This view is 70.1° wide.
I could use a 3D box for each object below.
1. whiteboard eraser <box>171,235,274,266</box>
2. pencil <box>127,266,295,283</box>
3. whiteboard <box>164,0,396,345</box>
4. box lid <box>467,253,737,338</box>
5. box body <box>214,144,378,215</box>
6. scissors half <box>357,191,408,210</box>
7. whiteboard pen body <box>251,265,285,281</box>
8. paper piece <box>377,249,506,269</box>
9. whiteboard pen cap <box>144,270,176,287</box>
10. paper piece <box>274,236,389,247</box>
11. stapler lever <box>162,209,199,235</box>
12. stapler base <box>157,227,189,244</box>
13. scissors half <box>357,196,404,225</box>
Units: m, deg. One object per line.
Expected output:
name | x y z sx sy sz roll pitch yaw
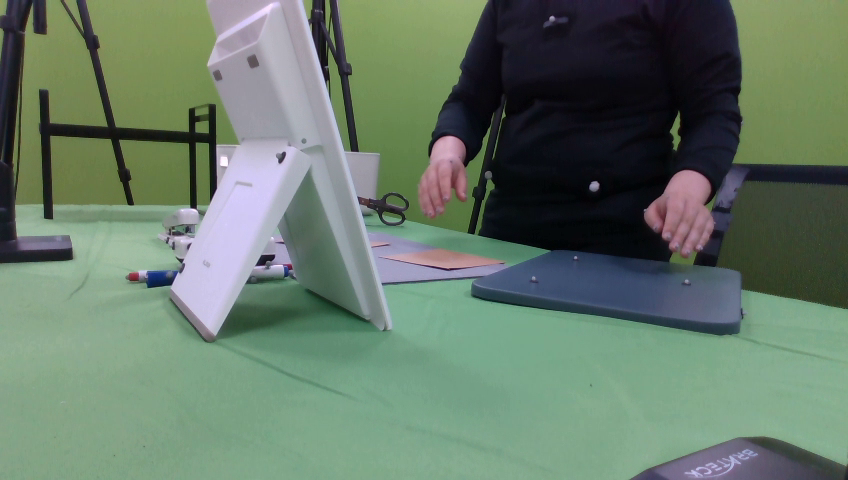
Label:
whiteboard eraser | -0.248 0.014 0.747 0.113 0.042 0.055 -1 10 -32
pencil | -0.231 0.037 0.690 0.195 0.012 0.012 -2 9 -34
whiteboard | -0.172 -0.053 0.511 0.144 0.305 0.216 -23 20 -26
box lid | 0.234 0.055 0.736 0.262 0.015 0.373 7 8 27
box body | -0.328 -0.154 1.543 0.366 0.160 0.253 -2 9 -32
scissors half | -0.122 -0.091 1.318 0.175 0.040 0.013 6 13 -3
whiteboard pen body | -0.220 0.039 0.656 0.141 0.017 0.017 -2 9 -31
paper piece | 0.026 0.026 0.865 0.134 0.004 0.136 10 10 43
whiteboard pen cap | -0.271 0.039 0.627 0.033 0.018 0.018 -3 10 -32
paper piece | -0.151 0.003 0.978 0.135 0.008 0.139 13 10 35
stapler lever | -0.376 -0.031 0.933 0.027 0.040 0.117 0 7 -38
stapler base | -0.376 -0.007 0.935 0.041 0.024 0.130 1 5 -38
scissors half | -0.127 -0.072 1.321 0.175 0.040 0.013 22 6 -5
